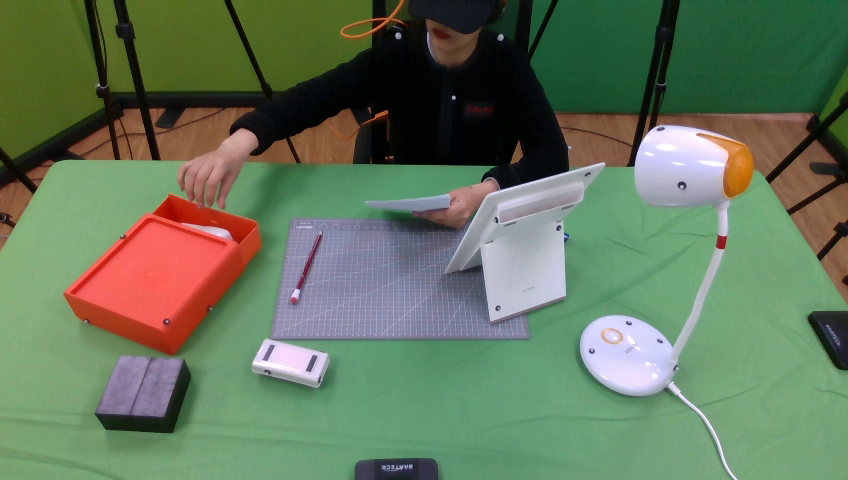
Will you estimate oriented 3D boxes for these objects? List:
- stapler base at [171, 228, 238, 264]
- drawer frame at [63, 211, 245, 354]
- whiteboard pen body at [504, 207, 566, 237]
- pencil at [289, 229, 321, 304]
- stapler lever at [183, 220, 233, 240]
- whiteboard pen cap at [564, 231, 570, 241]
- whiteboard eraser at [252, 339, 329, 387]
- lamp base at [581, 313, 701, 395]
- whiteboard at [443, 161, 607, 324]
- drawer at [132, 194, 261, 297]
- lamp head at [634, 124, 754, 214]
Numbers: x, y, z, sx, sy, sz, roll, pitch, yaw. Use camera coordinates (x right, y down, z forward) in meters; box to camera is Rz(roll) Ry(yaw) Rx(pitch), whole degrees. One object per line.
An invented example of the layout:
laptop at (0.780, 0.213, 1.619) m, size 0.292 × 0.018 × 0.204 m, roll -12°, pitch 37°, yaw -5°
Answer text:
stapler base at (-0.414, 0.006, 1.146) m, size 0.130 × 0.024 × 0.041 m, roll 21°, pitch 29°, yaw 14°
drawer frame at (-0.459, 0.067, 1.056) m, size 0.201 × 0.083 × 0.212 m, roll 17°, pitch 48°, yaw 11°
whiteboard pen body at (0.228, -0.035, 1.247) m, size 0.140 × 0.017 × 0.017 m, roll 26°, pitch 50°, yaw 21°
pencil at (-0.221, 0.045, 1.141) m, size 0.012 × 0.012 × 0.193 m, roll 8°, pitch 44°, yaw 4°
stapler lever at (-0.410, -0.017, 1.133) m, size 0.118 × 0.040 × 0.027 m, roll 19°, pitch 28°, yaw 15°
whiteboard pen cap at (0.277, -0.012, 1.226) m, size 0.033 × 0.018 × 0.018 m, roll 29°, pitch 51°, yaw 18°
whiteboard eraser at (-0.215, 0.199, 0.976) m, size 0.112 × 0.042 × 0.055 m, roll 12°, pitch 45°, yaw 7°
lamp base at (0.361, 0.144, 0.973) m, size 0.178 × 0.181 × 0.160 m, roll 34°, pitch 53°, yaw 23°
whiteboard at (0.185, 0.026, 1.028) m, size 0.217 × 0.306 × 0.143 m, roll -15°, pitch 68°, yaw -18°
drawer at (-0.437, 0.027, 1.098) m, size 0.194 × 0.073 × 0.211 m, roll 18°, pitch 48°, yaw 12°
lamp head at (0.351, -0.089, 0.776) m, size 0.112 × 0.113 × 0.122 m, roll -30°, pitch 30°, yaw -28°
